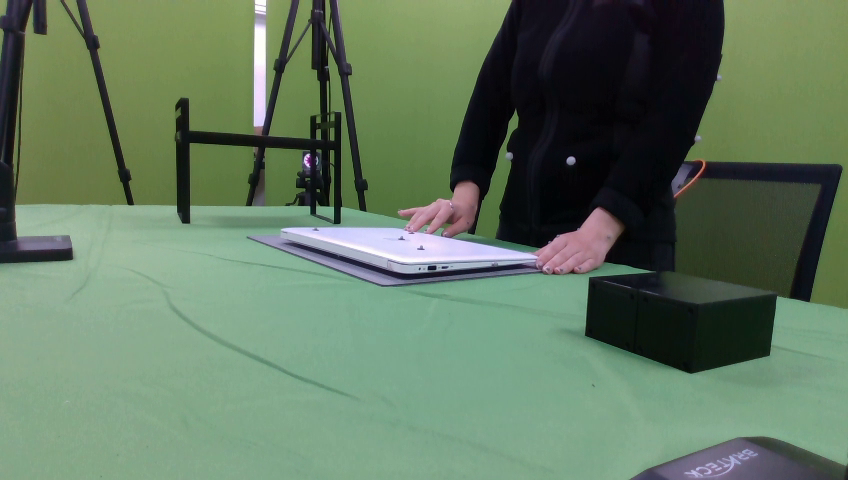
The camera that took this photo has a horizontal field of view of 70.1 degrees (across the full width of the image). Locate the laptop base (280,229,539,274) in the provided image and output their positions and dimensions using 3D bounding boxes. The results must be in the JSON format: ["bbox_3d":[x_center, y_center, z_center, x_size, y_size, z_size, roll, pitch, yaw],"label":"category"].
[{"bbox_3d":[-0.036,0.014,0.895,0.237,0.023,0.352,1,7,-38],"label":"laptop base"}]

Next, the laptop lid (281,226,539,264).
[{"bbox_3d":[-0.034,0.002,0.895,0.243,0.013,0.355,0,8,-36],"label":"laptop lid"}]
